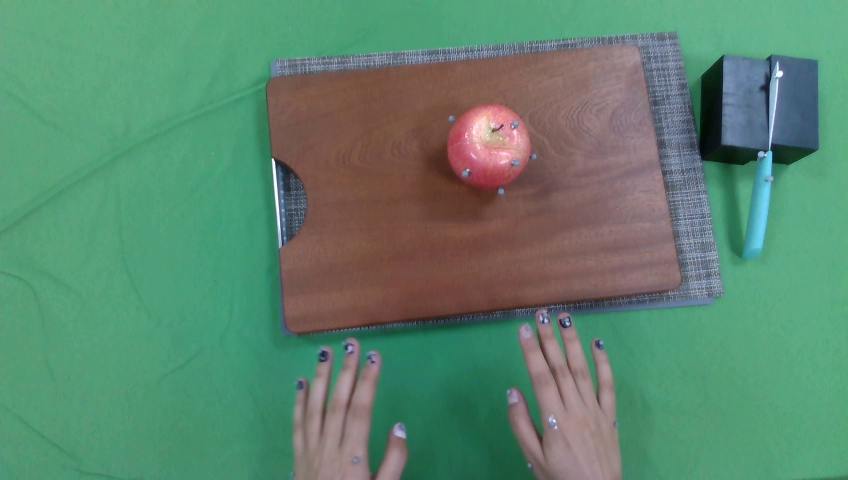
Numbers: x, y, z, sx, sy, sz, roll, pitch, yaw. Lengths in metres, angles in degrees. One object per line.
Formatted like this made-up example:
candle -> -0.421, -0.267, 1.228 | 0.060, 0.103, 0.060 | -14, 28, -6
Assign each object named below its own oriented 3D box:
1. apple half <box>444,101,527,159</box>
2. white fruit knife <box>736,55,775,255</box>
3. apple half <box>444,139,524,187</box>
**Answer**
apple half -> 0.061, -0.105, 0.594 | 0.081, 0.075, 0.053 | 6, 76, 3
white fruit knife -> 0.347, -0.086, 0.628 | 0.016, 0.027, 0.207 | 5, 95, -3
apple half -> 0.056, -0.067, 0.586 | 0.081, 0.081, 0.032 | 7, 76, -1
